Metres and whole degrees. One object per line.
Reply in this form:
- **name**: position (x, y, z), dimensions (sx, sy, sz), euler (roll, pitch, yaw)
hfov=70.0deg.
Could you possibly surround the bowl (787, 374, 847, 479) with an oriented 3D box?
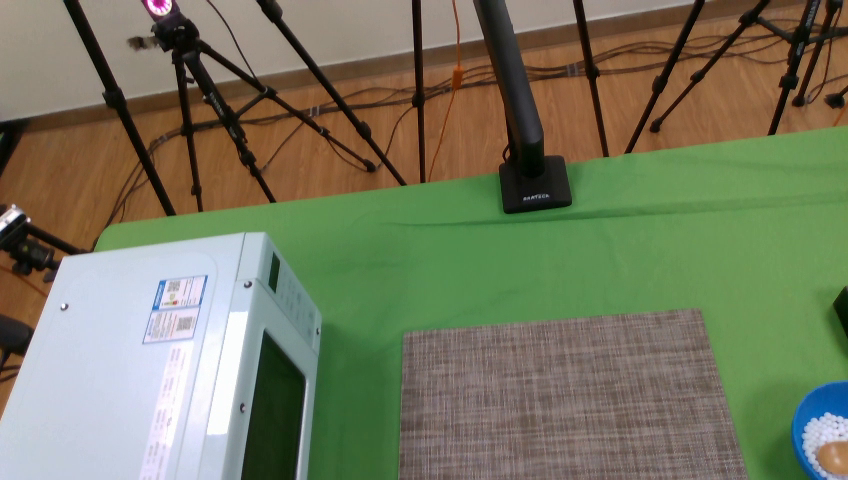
- **bowl**: position (0.510, 0.246, 0.726), dimensions (0.151, 0.077, 0.150), euler (-6, 54, 8)

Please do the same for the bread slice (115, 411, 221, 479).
- **bread slice**: position (-0.334, 0.284, 0.768), dimensions (0.105, 0.019, 0.130), euler (-43, 60, -15)

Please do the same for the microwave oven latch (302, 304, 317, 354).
- **microwave oven latch**: position (-0.187, 0.141, 0.962), dimensions (0.030, 0.030, 0.078), euler (-8, 55, 7)

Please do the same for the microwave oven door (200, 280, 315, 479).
- **microwave oven door**: position (-0.202, 0.260, 0.754), dimensions (0.039, 0.246, 0.352), euler (-8, 54, 7)

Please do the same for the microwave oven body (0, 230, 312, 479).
- **microwave oven body**: position (-0.346, 0.249, 0.801), dimensions (0.326, 0.263, 0.437), euler (-8, 55, 7)

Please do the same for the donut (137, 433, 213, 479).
- **donut**: position (-0.323, 0.300, 0.787), dimensions (0.099, 0.049, 0.098), euler (-3, 53, 4)

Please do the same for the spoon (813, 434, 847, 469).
- **spoon**: position (0.553, 0.226, 0.691), dimensions (0.193, 0.022, 0.041), euler (-23, 44, 24)

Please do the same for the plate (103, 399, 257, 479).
- **plate**: position (-0.322, 0.317, 0.809), dimensions (0.207, 0.039, 0.205), euler (-4, 54, 6)

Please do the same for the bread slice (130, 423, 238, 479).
- **bread slice**: position (-0.328, 0.309, 0.807), dimensions (0.133, 0.018, 0.107), euler (27, 57, 31)
